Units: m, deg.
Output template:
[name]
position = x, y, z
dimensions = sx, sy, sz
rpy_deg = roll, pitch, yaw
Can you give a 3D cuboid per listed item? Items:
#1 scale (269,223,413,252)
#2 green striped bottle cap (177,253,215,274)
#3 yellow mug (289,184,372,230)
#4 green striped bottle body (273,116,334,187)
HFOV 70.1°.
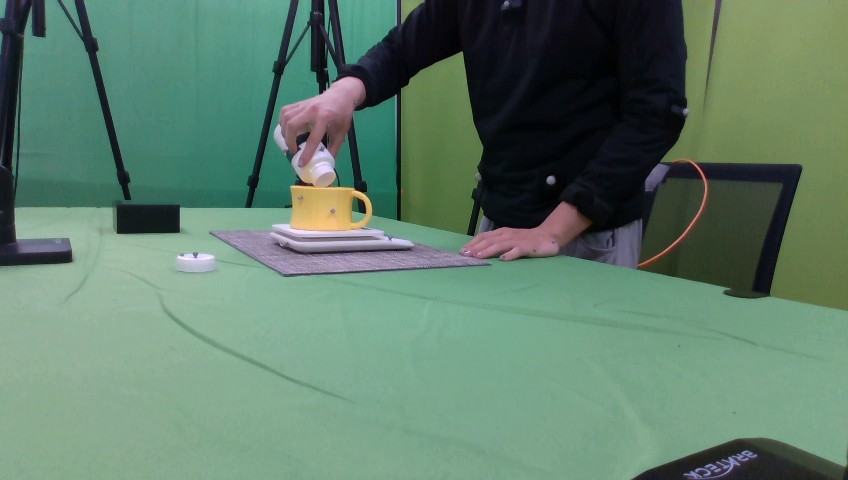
[scale]
position = -0.132, -0.007, 0.965
dimensions = 0.202, 0.031, 0.148
rpy_deg = -2, 8, -31
[green striped bottle cap]
position = -0.279, 0.028, 0.741
dimensions = 0.044, 0.020, 0.044
rpy_deg = 5, 6, 0
[yellow mug]
position = -0.145, -0.052, 0.944
dimensions = 0.131, 0.064, 0.100
rpy_deg = 4, 7, 9
[green striped bottle body]
position = -0.192, -0.141, 0.986
dimensions = 0.063, 0.063, 0.119
rpy_deg = -7, 53, -50
